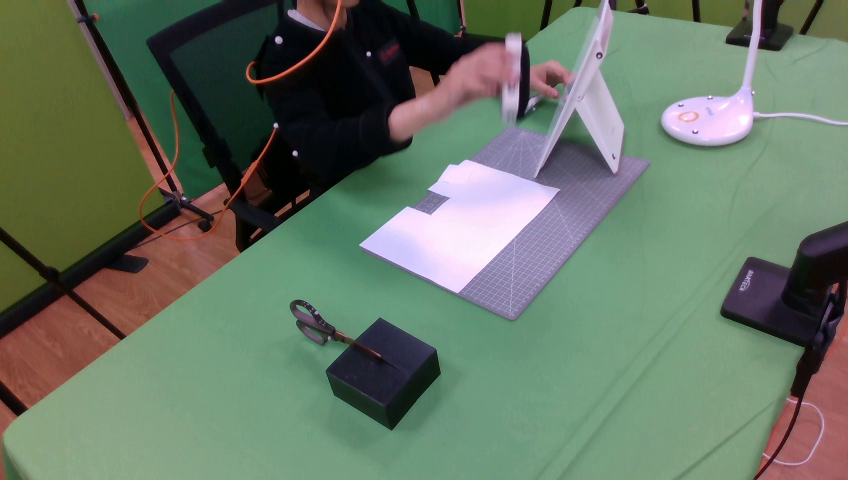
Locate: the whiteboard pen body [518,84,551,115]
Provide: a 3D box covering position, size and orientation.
[{"bbox_3d":[0.241,-0.306,1.290,0.017,0.017,0.141,23,51,32],"label":"whiteboard pen body"}]

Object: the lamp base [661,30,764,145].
[{"bbox_3d":[0.535,-0.287,1.096,0.179,0.181,0.159,-10,40,-4],"label":"lamp base"}]

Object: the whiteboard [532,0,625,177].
[{"bbox_3d":[0.320,-0.258,1.050,0.144,0.306,0.217,21,45,5],"label":"whiteboard"}]

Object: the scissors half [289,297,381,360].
[{"bbox_3d":[-0.120,0.117,0.798,0.174,0.040,0.013,27,43,31],"label":"scissors half"}]

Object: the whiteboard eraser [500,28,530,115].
[{"bbox_3d":[0.130,-0.240,0.865,0.042,0.056,0.112,1,74,4],"label":"whiteboard eraser"}]

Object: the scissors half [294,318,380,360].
[{"bbox_3d":[-0.118,0.135,0.809,0.173,0.040,0.013,9,38,43],"label":"scissors half"}]

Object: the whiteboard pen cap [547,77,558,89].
[{"bbox_3d":[0.279,-0.341,1.321,0.018,0.018,0.033,22,51,31],"label":"whiteboard pen cap"}]
